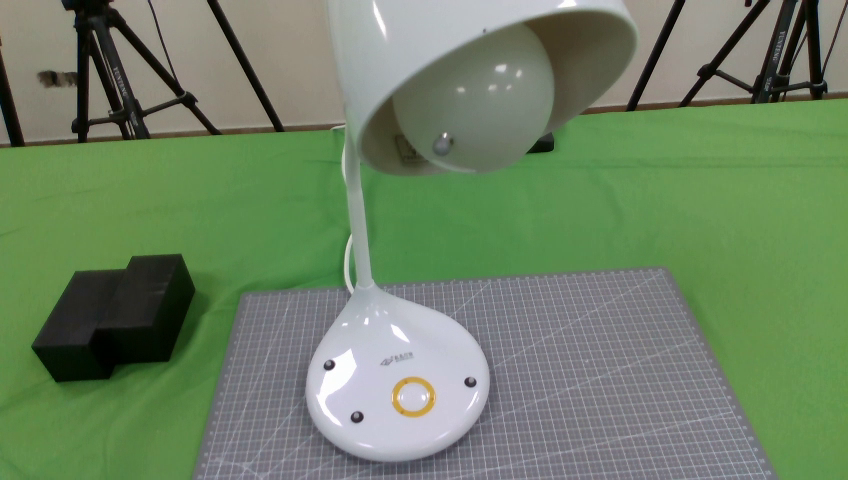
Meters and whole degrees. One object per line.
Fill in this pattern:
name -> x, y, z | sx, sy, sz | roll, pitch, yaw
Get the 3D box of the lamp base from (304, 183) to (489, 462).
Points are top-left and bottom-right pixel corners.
lamp base -> -0.034, 0.056, 0.489 | 0.161, 0.182, 0.177 | -22, 41, -22

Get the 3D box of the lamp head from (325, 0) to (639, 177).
lamp head -> 0.008, -0.098, 0.244 | 0.112, 0.113, 0.122 | -17, 71, -17
